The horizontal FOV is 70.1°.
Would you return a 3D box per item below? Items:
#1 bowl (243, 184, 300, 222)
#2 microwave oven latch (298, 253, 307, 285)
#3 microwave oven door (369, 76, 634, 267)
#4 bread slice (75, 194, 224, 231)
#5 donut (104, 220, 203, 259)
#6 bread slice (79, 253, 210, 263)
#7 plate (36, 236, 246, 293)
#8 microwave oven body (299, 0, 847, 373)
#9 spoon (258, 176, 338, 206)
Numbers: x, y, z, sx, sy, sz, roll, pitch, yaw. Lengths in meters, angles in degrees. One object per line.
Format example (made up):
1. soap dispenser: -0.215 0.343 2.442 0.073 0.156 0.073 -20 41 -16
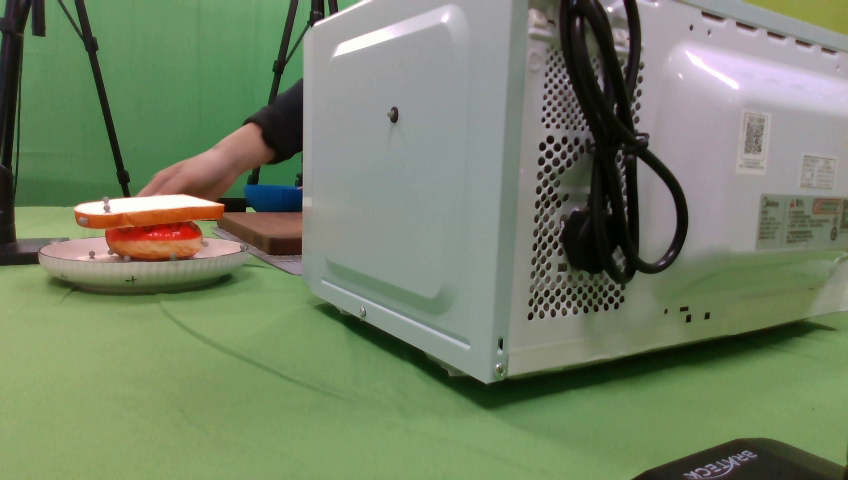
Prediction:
1. bowl: -0.322 -0.081 1.334 0.151 0.077 0.151 3 8 0
2. microwave oven latch: -0.081 0.027 0.583 0.079 0.029 0.030 -1 7 -32
3. microwave oven door: 0.094 -0.099 0.831 0.355 0.243 0.039 5 8 19
4. bread slice: -0.302 -0.032 0.659 0.106 0.018 0.135 10 17 41
5. donut: -0.297 -0.003 0.669 0.099 0.048 0.099 4 1 0
6. bread slice: -0.302 0.027 0.662 0.132 0.019 0.104 -4 8 -45
7. plate: -0.305 0.026 0.668 0.208 0.039 0.207 2 7 0
8. microwave oven body: 0.151 -0.055 0.543 0.444 0.260 0.324 -2 7 -33
9. spoon: -0.279 -0.112 1.357 0.194 0.021 0.041 -27 21 -26
